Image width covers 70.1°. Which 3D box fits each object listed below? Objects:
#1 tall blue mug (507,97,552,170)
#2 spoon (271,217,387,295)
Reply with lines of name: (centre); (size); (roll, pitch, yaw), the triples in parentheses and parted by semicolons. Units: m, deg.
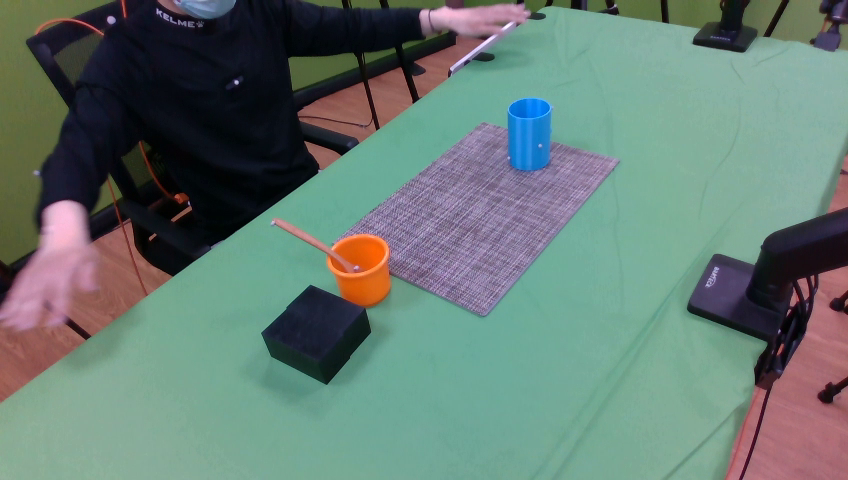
tall blue mug: (0.179, -0.198, 1.101); (0.078, 0.108, 0.106); (-36, 49, -28)
spoon: (-0.134, 0.022, 0.865); (0.021, 0.195, 0.041); (-36, 25, 39)
